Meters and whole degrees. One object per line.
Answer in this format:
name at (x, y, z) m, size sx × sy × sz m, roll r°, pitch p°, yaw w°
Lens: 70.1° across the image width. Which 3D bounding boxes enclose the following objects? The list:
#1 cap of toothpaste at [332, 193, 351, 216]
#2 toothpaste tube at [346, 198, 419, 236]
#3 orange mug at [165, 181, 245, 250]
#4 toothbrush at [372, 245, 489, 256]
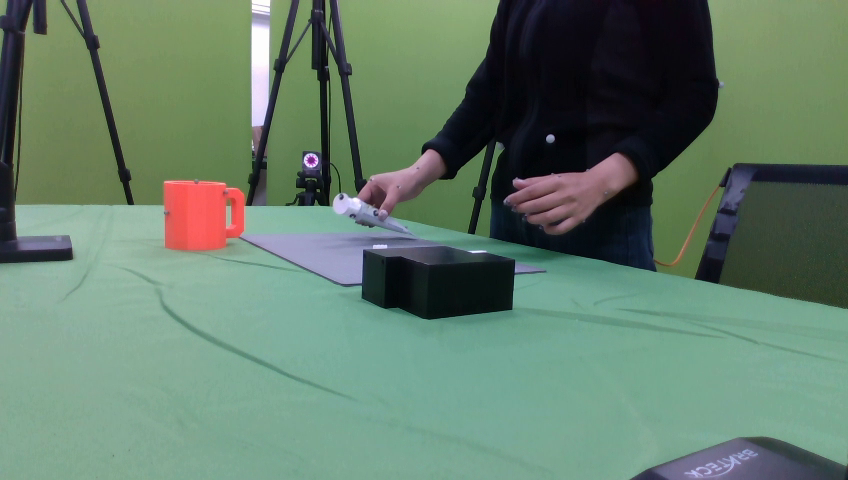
cap of toothpaste at (-0.132, -0.057, 0.976) m, size 0.037 × 0.037 × 0.011 m, roll 7°, pitch 0°, yaw 34°
toothpaste tube at (-0.077, -0.037, 1.034) m, size 0.166 × 0.034 × 0.055 m, roll 19°, pitch 12°, yaw -46°
orange mug at (-0.326, -0.040, 0.911) m, size 0.083 × 0.101 × 0.127 m, roll 8°, pitch 14°, yaw 37°
toothbrush at (0.012, 0.016, 0.874) m, size 0.183 × 0.016 × 0.014 m, roll 1°, pitch -7°, yaw -22°
